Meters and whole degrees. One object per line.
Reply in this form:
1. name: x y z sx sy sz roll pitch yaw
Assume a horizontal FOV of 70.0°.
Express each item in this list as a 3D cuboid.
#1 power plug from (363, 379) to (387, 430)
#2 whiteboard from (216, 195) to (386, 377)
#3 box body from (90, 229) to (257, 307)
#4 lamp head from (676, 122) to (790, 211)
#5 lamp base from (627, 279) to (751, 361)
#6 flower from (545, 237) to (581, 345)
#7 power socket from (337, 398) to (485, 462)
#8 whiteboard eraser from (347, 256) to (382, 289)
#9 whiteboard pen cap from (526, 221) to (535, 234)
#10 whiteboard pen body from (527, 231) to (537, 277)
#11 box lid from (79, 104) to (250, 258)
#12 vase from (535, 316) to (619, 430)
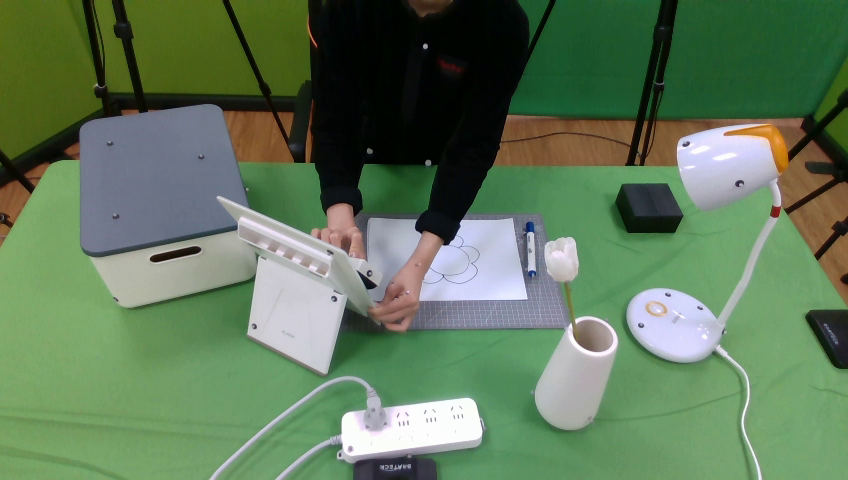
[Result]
1. power plug: -0.072 0.252 0.911 0.035 0.053 0.072 3 40 0
2. whiteboard: -0.212 0.093 0.938 0.216 0.307 0.143 24 70 17
3. box body: -0.471 -0.070 1.131 0.254 0.161 0.361 -14 49 -17
4. lamp head: 0.423 -0.104 0.819 0.122 0.113 0.112 -13 33 40
5. lamp base: 0.460 0.100 1.027 0.178 0.181 0.160 27 51 17
6. flower: 0.213 0.137 0.846 0.038 0.364 0.044 21 55 39
7. power socket: -0.018 0.285 0.914 0.227 0.033 0.071 -4 46 -8
8. whiteboard eraser: -0.121 0.051 0.968 0.112 0.056 0.041 7 66 48
9. whiteboard pen cap: 0.216 -0.022 1.233 0.018 0.018 0.033 6 45 2
10. whiteboard pen body: 0.211 0.018 1.191 0.017 0.017 0.140 6 44 2
11. box lid: -0.467 -0.121 1.075 0.264 0.015 0.369 -13 49 -18
12. vase: 0.229 0.200 0.900 0.098 0.201 0.097 3 46 -3
